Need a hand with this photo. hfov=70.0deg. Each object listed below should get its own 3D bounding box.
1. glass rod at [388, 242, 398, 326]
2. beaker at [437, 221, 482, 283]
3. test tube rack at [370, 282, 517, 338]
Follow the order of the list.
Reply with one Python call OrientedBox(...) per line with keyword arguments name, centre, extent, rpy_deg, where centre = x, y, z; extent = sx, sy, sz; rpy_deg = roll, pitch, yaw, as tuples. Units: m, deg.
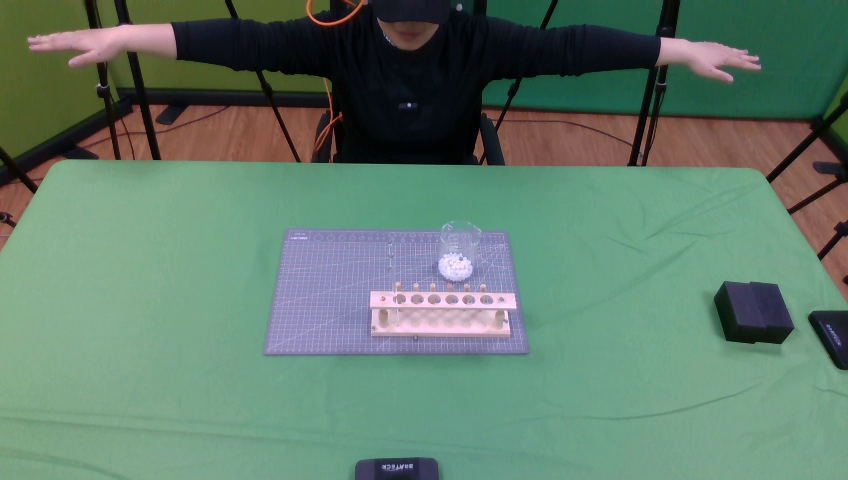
OrientedBox(name="glass rod", centre=(-0.051, 0.076, 0.981), extent=(0.008, 0.201, 0.008), rpy_deg=(-1, 44, 1))
OrientedBox(name="beaker", centre=(0.064, 0.024, 1.124), extent=(0.084, 0.101, 0.073), rpy_deg=(-13, 49, -17))
OrientedBox(name="test tube rack", centre=(0.030, 0.116, 1.041), extent=(0.242, 0.085, 0.066), rpy_deg=(1, 46, -3))
